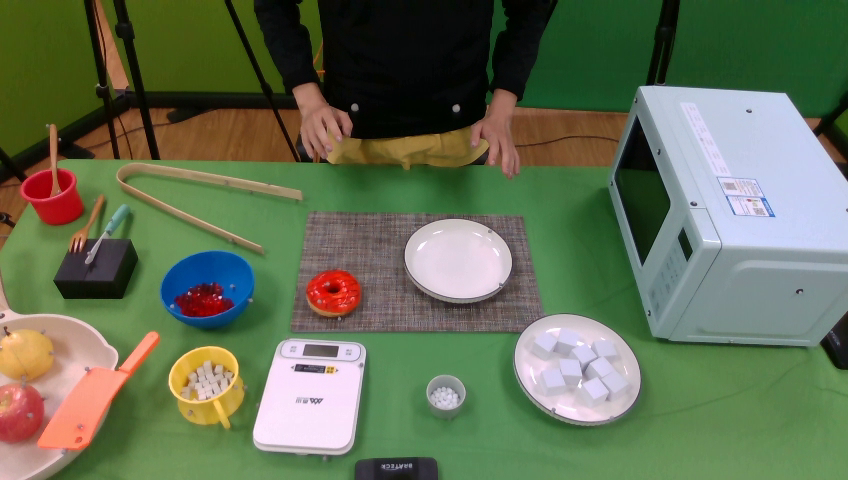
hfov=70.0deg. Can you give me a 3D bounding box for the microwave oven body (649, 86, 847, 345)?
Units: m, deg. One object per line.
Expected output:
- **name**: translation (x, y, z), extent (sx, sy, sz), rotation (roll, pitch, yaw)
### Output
- **microwave oven body**: translation (0.567, -0.053, 1.118), extent (0.326, 0.261, 0.439), rotation (2, 45, -1)

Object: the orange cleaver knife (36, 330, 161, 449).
- **orange cleaver knife**: translation (-0.466, 0.210, 0.880), extent (0.077, 0.012, 0.210), rotation (15, 46, 9)

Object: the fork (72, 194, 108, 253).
- **fork**: translation (-0.634, -0.036, 1.158), extent (0.028, 0.019, 0.206), rotation (-8, 31, -8)

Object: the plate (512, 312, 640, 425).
- **plate**: translation (0.246, 0.213, 0.999), extent (0.208, 0.039, 0.206), rotation (2, 46, -2)

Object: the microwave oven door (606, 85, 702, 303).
- **microwave oven door**: translation (0.423, -0.094, 1.140), extent (0.039, 0.245, 0.353), rotation (2, 46, -1)

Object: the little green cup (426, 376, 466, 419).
- **little green cup**: translation (0.033, 0.248, 0.950), extent (0.061, 0.039, 0.061), rotation (2, 46, -2)

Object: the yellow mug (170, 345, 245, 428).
- **yellow mug**: translation (-0.322, 0.230, 0.922), extent (0.100, 0.064, 0.130), rotation (-24, 53, -25)

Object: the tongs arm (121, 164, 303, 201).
- **tongs arm**: translation (-0.444, -0.114, 1.266), extent (0.384, 0.026, 0.050), rotation (12, 51, 8)

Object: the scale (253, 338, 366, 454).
- **scale**: translation (-0.175, 0.236, 0.951), extent (0.149, 0.032, 0.199), rotation (5, 45, -1)

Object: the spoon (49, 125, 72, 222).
- **spoon**: translation (-0.718, -0.131, 1.189), extent (0.041, 0.021, 0.193), rotation (-4, 90, -6)

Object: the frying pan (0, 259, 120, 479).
- **frying pan**: translation (-0.647, 0.164, 0.936), extent (0.307, 0.103, 0.485), rotation (-19, 58, -22)

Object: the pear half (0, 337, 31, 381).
- **pear half**: translation (-0.632, 0.185, 0.920), extent (0.070, 0.088, 0.031), rotation (29, 49, 20)

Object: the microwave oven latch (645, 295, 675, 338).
- **microwave oven latch**: translation (0.411, 0.134, 1.061), extent (0.030, 0.029, 0.078), rotation (3, 45, 0)

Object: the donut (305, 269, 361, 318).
- **donut**: translation (-0.160, 0.094, 1.075), extent (0.099, 0.048, 0.098), rotation (4, 45, -3)

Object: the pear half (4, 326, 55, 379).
- **pear half**: translation (-0.609, 0.159, 0.934), extent (0.076, 0.110, 0.056), rotation (32, 52, 20)

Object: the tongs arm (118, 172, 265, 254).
- **tongs arm**: translation (-0.473, -0.054, 1.211), extent (0.386, 0.028, 0.028), rotation (23, 57, 17)

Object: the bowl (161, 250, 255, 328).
- **bowl**: translation (-0.362, 0.098, 1.039), extent (0.151, 0.077, 0.150), rotation (2, 45, -2)

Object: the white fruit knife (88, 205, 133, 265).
- **white fruit knife**: translation (-0.584, -0.013, 1.129), extent (0.016, 0.027, 0.206), rotation (0, 32, -5)

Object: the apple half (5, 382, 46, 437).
- **apple half**: translation (-0.567, 0.244, 0.877), extent (0.033, 0.082, 0.080), rotation (-9, 47, -7)

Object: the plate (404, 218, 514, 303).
- **plate**: translation (0.064, 0.042, 1.146), extent (0.209, 0.038, 0.208), rotation (3, 45, -2)

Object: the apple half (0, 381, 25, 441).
- **apple half**: translation (-0.605, 0.250, 0.871), extent (0.053, 0.075, 0.080), rotation (-9, 51, -7)
